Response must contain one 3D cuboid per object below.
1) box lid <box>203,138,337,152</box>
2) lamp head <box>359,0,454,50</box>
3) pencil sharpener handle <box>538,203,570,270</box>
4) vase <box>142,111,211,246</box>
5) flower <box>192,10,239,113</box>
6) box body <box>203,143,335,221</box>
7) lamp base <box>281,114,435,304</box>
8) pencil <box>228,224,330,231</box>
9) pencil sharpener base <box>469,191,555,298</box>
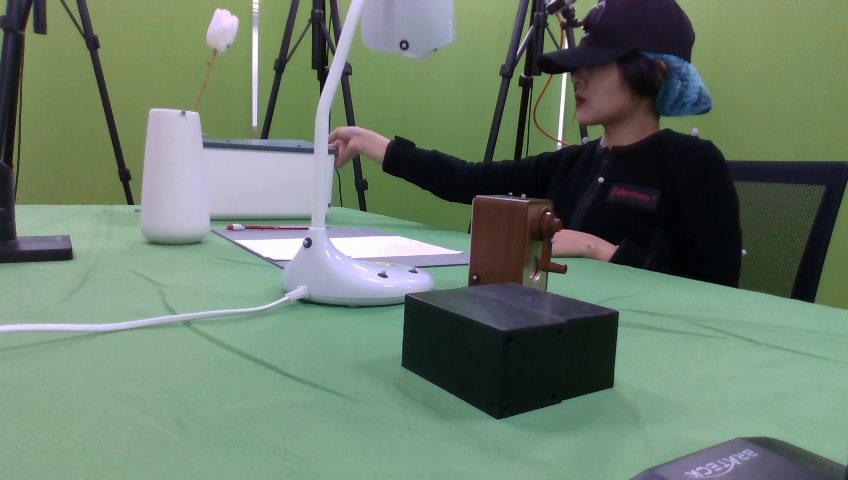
[{"bbox_3d":[-0.407,-0.215,1.369,0.373,0.015,0.262,-3,13,-30],"label":"box lid"},{"bbox_3d":[-0.024,-0.283,0.674,0.112,0.123,0.112,-3,38,3],"label":"lamp head"},{"bbox_3d":[0.137,-0.003,0.619,0.030,0.067,0.036,8,5,38],"label":"pencil sharpener handle"},{"bbox_3d":[-0.378,-0.093,0.920,0.098,0.200,0.098,2,9,0],"label":"vase"},{"bbox_3d":[-0.354,-0.174,0.915,0.038,0.361,0.044,18,-4,12],"label":"flower"},{"bbox_3d":[-0.412,-0.134,1.379,0.366,0.160,0.253,-2,9,-31],"label":"box body"},{"bbox_3d":[-0.071,-0.035,0.614,0.160,0.180,0.180,6,10,27],"label":"lamp base"},{"bbox_3d":[-0.265,-0.023,1.124,0.195,0.012,0.012,-1,8,-32],"label":"pencil"},{"bbox_3d":[0.097,0.003,0.652,0.076,0.107,0.061,8,9,38],"label":"pencil sharpener base"}]
